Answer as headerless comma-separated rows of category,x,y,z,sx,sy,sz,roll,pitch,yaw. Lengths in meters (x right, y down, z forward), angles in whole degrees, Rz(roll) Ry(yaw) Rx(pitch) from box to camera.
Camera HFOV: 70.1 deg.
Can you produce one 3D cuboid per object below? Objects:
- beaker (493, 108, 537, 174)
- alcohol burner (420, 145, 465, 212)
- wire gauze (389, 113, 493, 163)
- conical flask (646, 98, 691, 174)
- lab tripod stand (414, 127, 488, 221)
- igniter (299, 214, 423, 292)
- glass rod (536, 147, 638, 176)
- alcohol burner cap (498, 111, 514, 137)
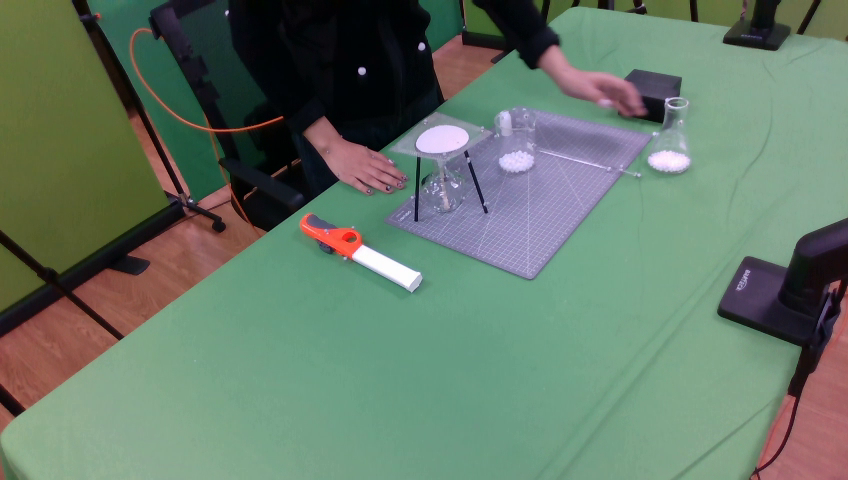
beaker,0.170,-0.177,1.096,0.074,0.101,0.083,-34,47,-26
alcohol burner,0.030,-0.108,1.030,0.078,0.119,0.077,-5,38,4
wire gauze,0.027,-0.164,0.977,0.120,0.011,0.125,23,49,35
conical flask,0.426,-0.180,1.037,0.075,0.122,0.075,-5,40,5
lab tripod stand,0.035,-0.114,1.021,0.148,0.132,0.147,-7,39,6
igniter,-0.112,0.016,0.983,0.274,0.025,0.057,26,62,35
glass rod,0.294,-0.145,1.104,0.198,0.008,0.008,22,50,31
alcohol burner cap,0.163,-0.235,1.211,0.034,0.048,0.033,-7,40,6
